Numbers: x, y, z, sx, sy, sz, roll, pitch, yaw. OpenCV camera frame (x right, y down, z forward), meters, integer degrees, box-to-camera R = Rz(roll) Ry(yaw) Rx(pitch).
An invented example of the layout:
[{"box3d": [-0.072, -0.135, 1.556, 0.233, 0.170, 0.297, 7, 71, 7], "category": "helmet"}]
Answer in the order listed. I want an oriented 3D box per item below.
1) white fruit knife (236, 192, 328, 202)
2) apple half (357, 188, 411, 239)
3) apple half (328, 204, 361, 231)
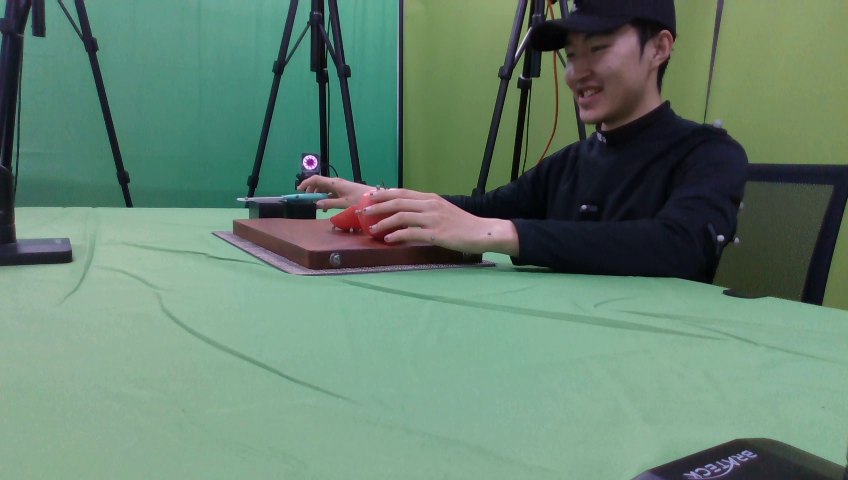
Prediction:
[{"box3d": [-0.294, -0.088, 1.279, 0.208, 0.016, 0.027, -6, -12, -36], "category": "white fruit knife"}, {"box3d": [-0.051, -0.037, 0.873, 0.081, 0.074, 0.053, -1, 11, -39], "category": "apple half"}, {"box3d": [-0.107, -0.034, 0.955, 0.081, 0.033, 0.081, -18, -5, -1], "category": "apple half"}]
